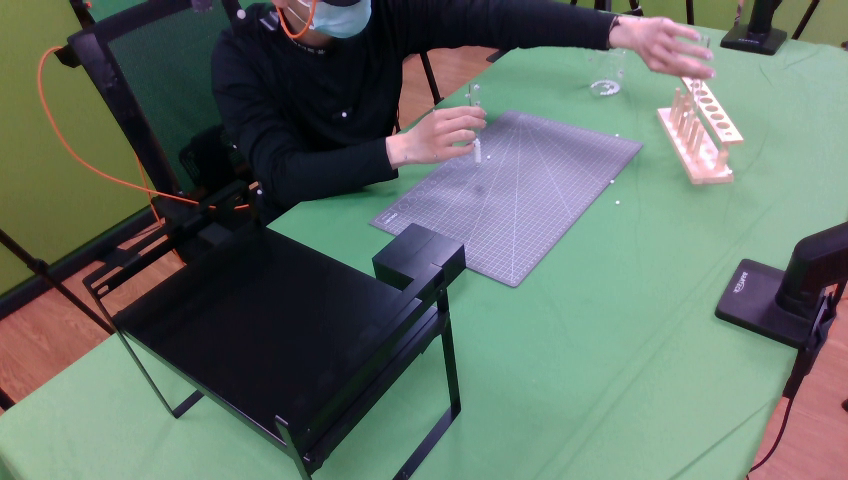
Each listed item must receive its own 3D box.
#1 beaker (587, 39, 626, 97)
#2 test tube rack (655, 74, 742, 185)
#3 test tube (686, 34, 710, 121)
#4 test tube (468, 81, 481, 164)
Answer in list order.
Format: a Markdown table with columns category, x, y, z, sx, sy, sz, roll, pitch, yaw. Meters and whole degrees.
| category | x | y | z | sx | sy | sz | roll | pitch | yaw |
| --- | --- | --- | --- | --- | --- | --- | --- | --- | --- |
| beaker | 0.386 | -0.361 | 1.280 | 0.074 | 0.101 | 0.083 | -22 | 43 | -15 |
| test tube rack | 0.488 | -0.205 | 1.093 | 0.067 | 0.085 | 0.241 | -3 | 41 | 5 |
| test tube | 0.461 | -0.271 | 1.018 | 0.017 | 0.151 | 0.017 | -4 | 38 | 4 |
| test tube | 0.088 | -0.199 | 1.039 | 0.017 | 0.151 | 0.017 | -5 | 35 | 4 |
